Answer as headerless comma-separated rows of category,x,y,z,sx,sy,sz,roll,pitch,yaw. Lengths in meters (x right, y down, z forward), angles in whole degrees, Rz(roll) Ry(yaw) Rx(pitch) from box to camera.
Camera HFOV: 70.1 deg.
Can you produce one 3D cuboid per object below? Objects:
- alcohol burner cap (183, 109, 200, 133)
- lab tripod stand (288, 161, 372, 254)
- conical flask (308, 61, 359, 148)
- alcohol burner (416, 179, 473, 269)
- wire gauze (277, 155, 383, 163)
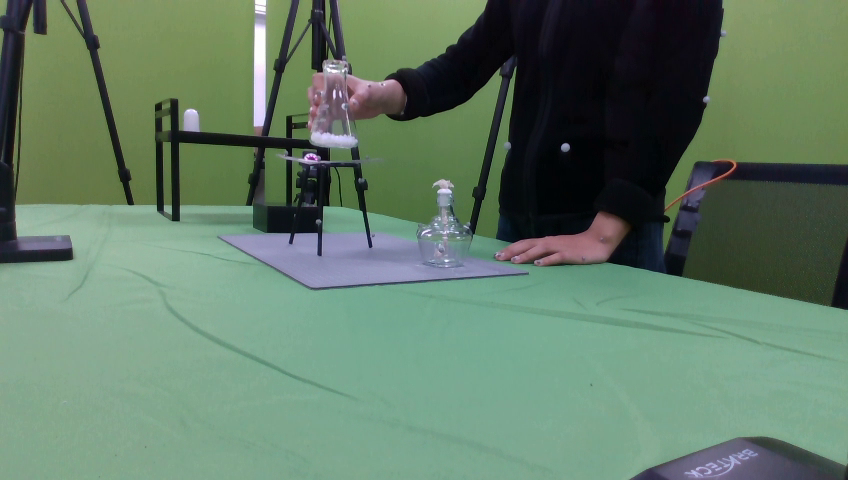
alcohol burner cap,-0.472,-0.241,1.229,0.034,0.048,0.034,3,8,0
lab tripod stand,-0.148,-0.052,0.908,0.148,0.131,0.148,1,8,0
conical flask,-0.133,-0.198,0.890,0.075,0.122,0.075,2,5,0
alcohol burner,0.028,-0.022,0.816,0.078,0.119,0.078,0,7,0
wire gauze,-0.142,-0.118,0.899,0.122,0.011,0.124,-3,8,-36
